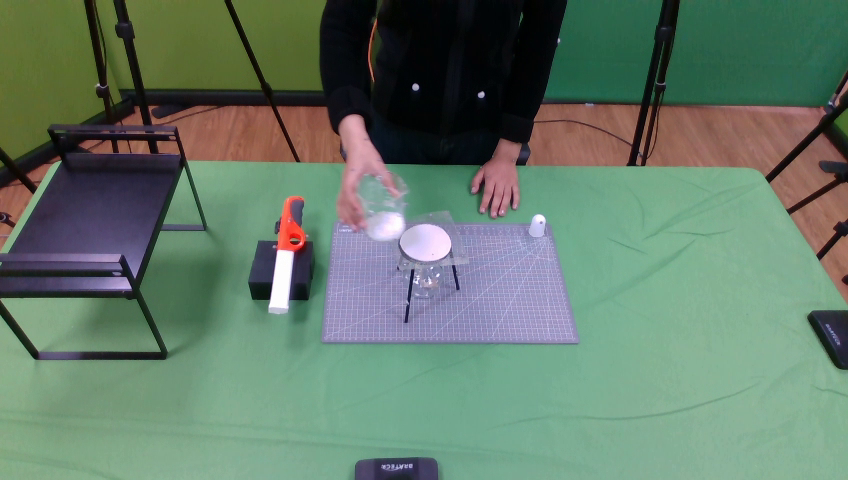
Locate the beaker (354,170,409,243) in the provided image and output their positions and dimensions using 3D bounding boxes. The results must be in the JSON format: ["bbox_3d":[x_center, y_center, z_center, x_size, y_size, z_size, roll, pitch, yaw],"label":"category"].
[{"bbox_3d":[-0.064,-0.050,0.961,0.084,0.101,0.073,2,51,3],"label":"beaker"}]

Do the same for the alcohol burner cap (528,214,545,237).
[{"bbox_3d":[0.231,-0.032,1.230,0.034,0.048,0.033,2,46,-2],"label":"alcohol burner cap"}]

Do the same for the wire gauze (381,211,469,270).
[{"bbox_3d":[0.000,0.000,1.024,0.125,0.011,0.120,-9,48,-13],"label":"wire gauze"}]

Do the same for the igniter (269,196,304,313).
[{"bbox_3d":[-0.249,0.016,1.095,0.057,0.025,0.274,8,46,-13],"label":"igniter"}]

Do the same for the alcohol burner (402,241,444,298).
[{"bbox_3d":[-0.001,0.048,1.084,0.078,0.119,0.077,3,44,-2],"label":"alcohol burner"}]

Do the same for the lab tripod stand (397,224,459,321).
[{"bbox_3d":[-0.004,0.052,1.067,0.148,0.132,0.147,3,47,-3],"label":"lab tripod stand"}]
